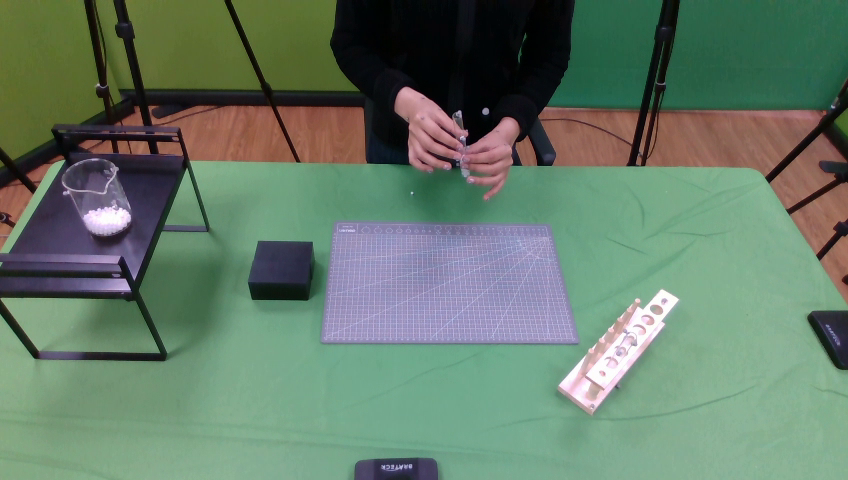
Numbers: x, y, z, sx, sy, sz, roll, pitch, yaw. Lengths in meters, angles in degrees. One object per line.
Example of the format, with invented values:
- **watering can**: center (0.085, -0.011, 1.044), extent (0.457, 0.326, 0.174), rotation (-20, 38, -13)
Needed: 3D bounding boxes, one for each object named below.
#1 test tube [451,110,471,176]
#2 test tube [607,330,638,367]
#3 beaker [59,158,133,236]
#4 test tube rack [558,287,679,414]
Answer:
- **test tube**: center (0.063, -0.158, 1.015), extent (0.017, 0.151, 0.017), rotation (-5, 55, 8)
- **test tube**: center (0.293, 0.184, 0.925), extent (0.017, 0.151, 0.017), rotation (4, 49, -4)
- **beaker**: center (-0.488, -0.060, 0.915), extent (0.074, 0.101, 0.083), rotation (-35, 58, -31)
- **test tube rack**: center (0.326, 0.170, 1.009), extent (0.066, 0.085, 0.242), rotation (36, 54, 26)
